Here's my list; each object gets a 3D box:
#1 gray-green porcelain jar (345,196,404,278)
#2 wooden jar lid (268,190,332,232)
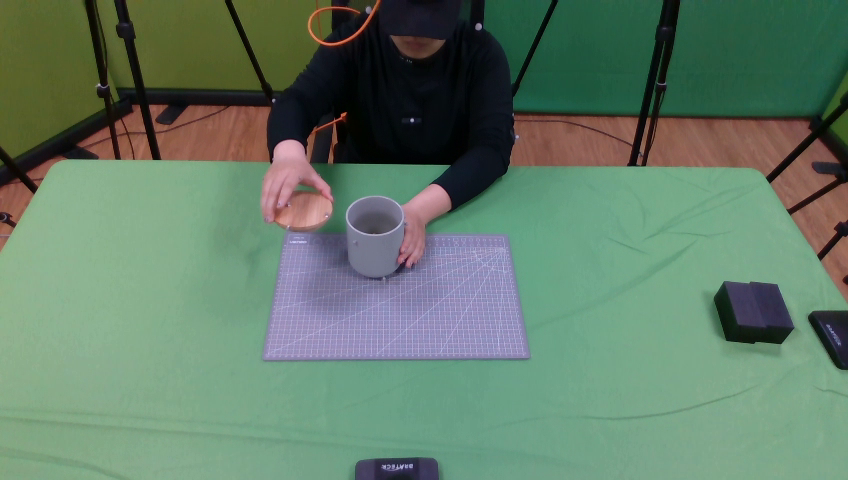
[{"bbox_3d":[-0.091,-0.001,1.117,0.106,0.127,0.105,3,46,-2],"label":"gray-green porcelain jar"},{"bbox_3d":[-0.215,-0.049,1.056,0.108,0.021,0.107,4,41,-3],"label":"wooden jar lid"}]
